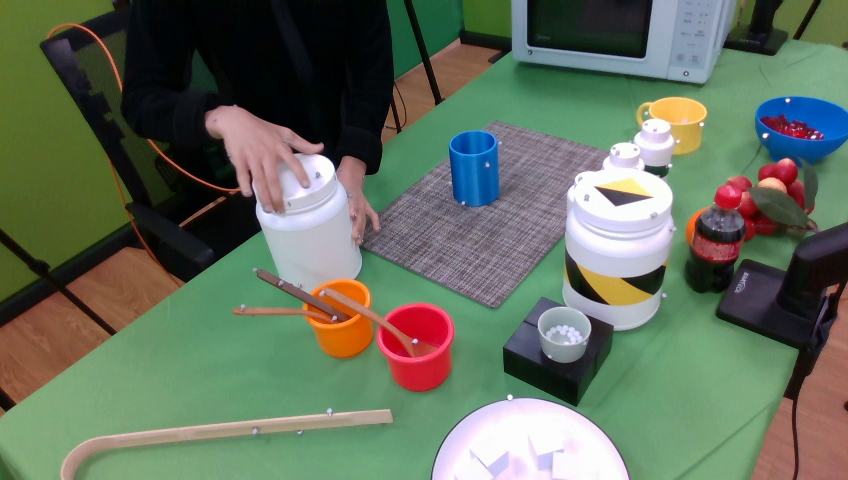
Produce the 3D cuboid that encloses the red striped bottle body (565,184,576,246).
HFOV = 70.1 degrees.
[{"bbox_3d":[0.247,-0.041,0.910,0.063,0.120,0.062,-3,39,3],"label":"red striped bottle body"}]

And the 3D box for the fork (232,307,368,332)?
[{"bbox_3d":[-0.152,0.101,0.781,0.209,0.018,0.028,18,19,-45],"label":"fork"}]

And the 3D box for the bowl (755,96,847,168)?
[{"bbox_3d":[0.645,-0.178,1.041,0.151,0.077,0.150,-5,40,4],"label":"bowl"}]

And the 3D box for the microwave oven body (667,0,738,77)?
[{"bbox_3d":[0.462,-0.552,1.369,0.439,0.261,0.326,15,45,26],"label":"microwave oven body"}]

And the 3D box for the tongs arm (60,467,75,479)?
[{"bbox_3d":[-0.239,0.301,0.648,0.386,0.028,0.028,6,49,16],"label":"tongs arm"}]

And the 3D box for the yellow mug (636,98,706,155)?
[{"bbox_3d":[0.453,-0.217,1.128,0.100,0.064,0.129,-34,46,-27],"label":"yellow mug"}]

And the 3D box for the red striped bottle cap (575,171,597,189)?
[{"bbox_3d":[0.242,-0.081,0.876,0.044,0.018,0.044,-5,44,5],"label":"red striped bottle cap"}]

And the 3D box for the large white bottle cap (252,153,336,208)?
[{"bbox_3d":[-0.181,-0.084,0.843,0.115,0.018,0.114,-4,40,4],"label":"large white bottle cap"}]

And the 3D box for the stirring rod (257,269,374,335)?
[{"bbox_3d":[-0.143,0.084,0.808,0.177,0.006,0.014,30,42,-19],"label":"stirring rod"}]

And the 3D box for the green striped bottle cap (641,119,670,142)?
[{"bbox_3d":[0.371,-0.175,0.968,0.044,0.020,0.044,-5,42,5],"label":"green striped bottle cap"}]

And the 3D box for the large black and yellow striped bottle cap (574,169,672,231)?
[{"bbox_3d":[0.242,-0.051,0.738,0.115,0.019,0.114,-4,37,3],"label":"large black and yellow striped bottle cap"}]

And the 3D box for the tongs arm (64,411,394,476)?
[{"bbox_3d":[-0.228,0.241,0.715,0.385,0.026,0.050,-5,43,4],"label":"tongs arm"}]

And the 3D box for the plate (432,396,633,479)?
[{"bbox_3d":[0.112,0.261,0.635,0.209,0.038,0.208,-5,40,4],"label":"plate"}]

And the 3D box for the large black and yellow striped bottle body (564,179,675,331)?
[{"bbox_3d":[0.253,0.014,0.793,0.131,0.185,0.130,-5,40,4],"label":"large black and yellow striped bottle body"}]

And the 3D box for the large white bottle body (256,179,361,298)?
[{"bbox_3d":[-0.172,-0.018,0.898,0.130,0.185,0.130,-4,40,4],"label":"large white bottle body"}]

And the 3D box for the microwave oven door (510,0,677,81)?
[{"bbox_3d":[0.353,-0.478,1.290,0.353,0.245,0.039,15,45,25],"label":"microwave oven door"}]

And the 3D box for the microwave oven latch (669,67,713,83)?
[{"bbox_3d":[0.556,-0.348,1.262,0.078,0.029,0.030,15,46,26],"label":"microwave oven latch"}]

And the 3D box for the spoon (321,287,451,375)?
[{"bbox_3d":[-0.046,0.111,0.757,0.194,0.021,0.041,38,47,-15],"label":"spoon"}]

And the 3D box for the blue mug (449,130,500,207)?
[{"bbox_3d":[0.089,-0.132,1.049,0.082,0.106,0.116,0,40,9],"label":"blue mug"}]

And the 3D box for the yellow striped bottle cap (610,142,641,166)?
[{"bbox_3d":[0.308,-0.131,0.925,0.044,0.019,0.044,-4,45,5],"label":"yellow striped bottle cap"}]

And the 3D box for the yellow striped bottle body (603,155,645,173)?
[{"bbox_3d":[0.314,-0.090,0.957,0.063,0.121,0.062,-4,40,4],"label":"yellow striped bottle body"}]

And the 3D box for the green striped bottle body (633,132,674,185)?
[{"bbox_3d":[0.376,-0.135,1.001,0.063,0.120,0.063,-5,40,5],"label":"green striped bottle body"}]

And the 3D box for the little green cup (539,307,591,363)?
[{"bbox_3d":[0.167,0.114,0.721,0.061,0.039,0.061,-4,43,4],"label":"little green cup"}]
